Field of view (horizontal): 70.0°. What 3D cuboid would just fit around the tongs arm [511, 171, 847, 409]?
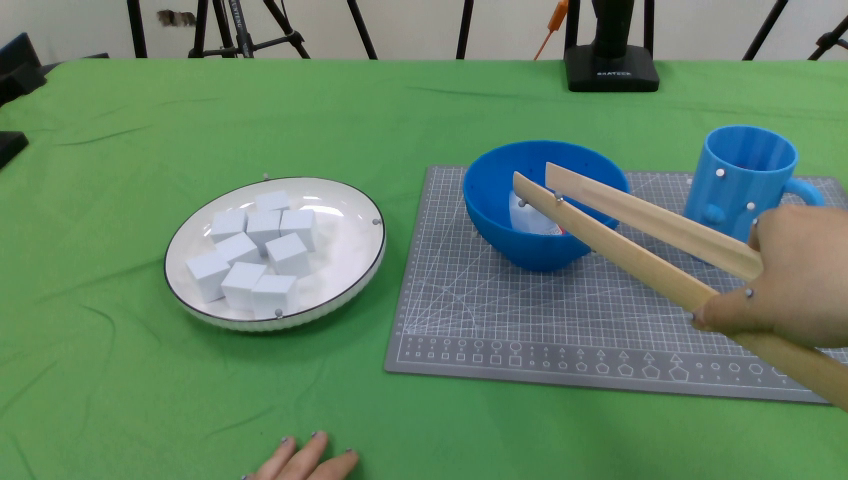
[{"bbox_3d":[0.172,0.021,0.389,0.051,0.027,0.380,-14,29,-18],"label":"tongs arm"}]

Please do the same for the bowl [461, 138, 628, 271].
[{"bbox_3d":[0.110,-0.024,0.576,0.151,0.077,0.150,-2,41,2],"label":"bowl"}]

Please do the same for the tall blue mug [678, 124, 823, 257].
[{"bbox_3d":[0.297,-0.038,0.554,0.107,0.109,0.077,11,43,16],"label":"tall blue mug"}]

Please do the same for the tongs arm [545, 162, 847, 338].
[{"bbox_3d":[0.194,0.015,0.398,0.028,0.028,0.383,-13,29,-23],"label":"tongs arm"}]

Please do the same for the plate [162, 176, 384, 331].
[{"bbox_3d":[-0.141,0.012,0.588,0.209,0.038,0.207,-1,42,2],"label":"plate"}]
